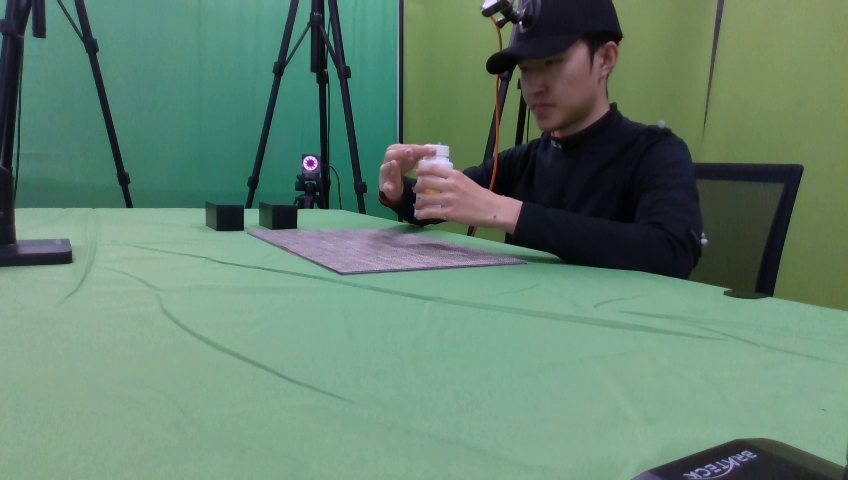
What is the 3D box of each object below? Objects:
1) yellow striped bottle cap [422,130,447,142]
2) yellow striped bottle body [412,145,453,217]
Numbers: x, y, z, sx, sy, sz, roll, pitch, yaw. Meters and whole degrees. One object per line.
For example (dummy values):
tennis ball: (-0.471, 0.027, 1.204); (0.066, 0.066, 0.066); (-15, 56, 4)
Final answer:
yellow striped bottle cap: (0.018, -0.180, 1.048); (0.044, 0.018, 0.044); (-4, 8, 1)
yellow striped bottle body: (0.016, -0.102, 1.050); (0.063, 0.120, 0.063); (7, 5, 0)
